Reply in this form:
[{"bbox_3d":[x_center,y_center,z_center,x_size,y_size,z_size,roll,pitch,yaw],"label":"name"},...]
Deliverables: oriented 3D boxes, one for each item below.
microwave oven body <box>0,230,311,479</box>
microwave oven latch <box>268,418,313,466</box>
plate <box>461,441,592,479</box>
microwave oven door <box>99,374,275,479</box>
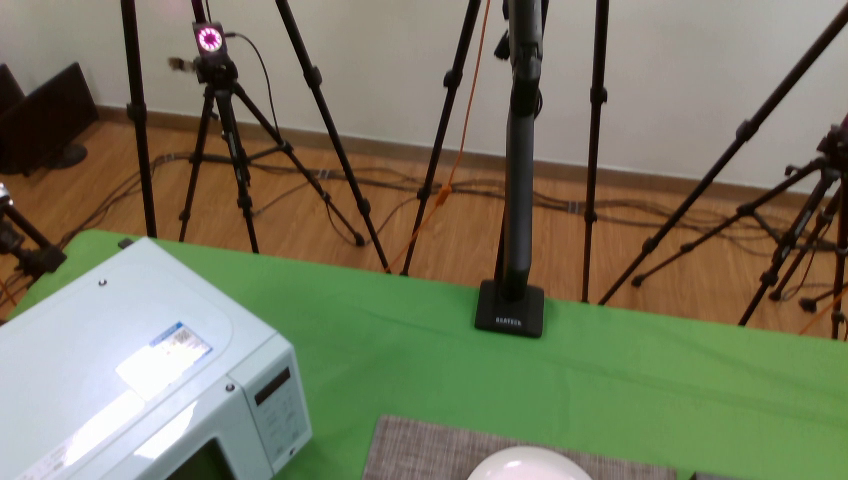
[{"bbox_3d":[-0.421,0.251,0.770,0.323,0.262,0.441,30,53,24],"label":"microwave oven body"},{"bbox_3d":[-0.197,0.287,0.880,0.030,0.030,0.079,32,53,25],"label":"microwave oven latch"},{"bbox_3d":[0.143,0.379,0.824,0.208,0.039,0.205,1,46,-1],"label":"plate"},{"bbox_3d":[-0.331,0.336,0.684,0.039,0.246,0.355,29,52,25],"label":"microwave oven door"}]
